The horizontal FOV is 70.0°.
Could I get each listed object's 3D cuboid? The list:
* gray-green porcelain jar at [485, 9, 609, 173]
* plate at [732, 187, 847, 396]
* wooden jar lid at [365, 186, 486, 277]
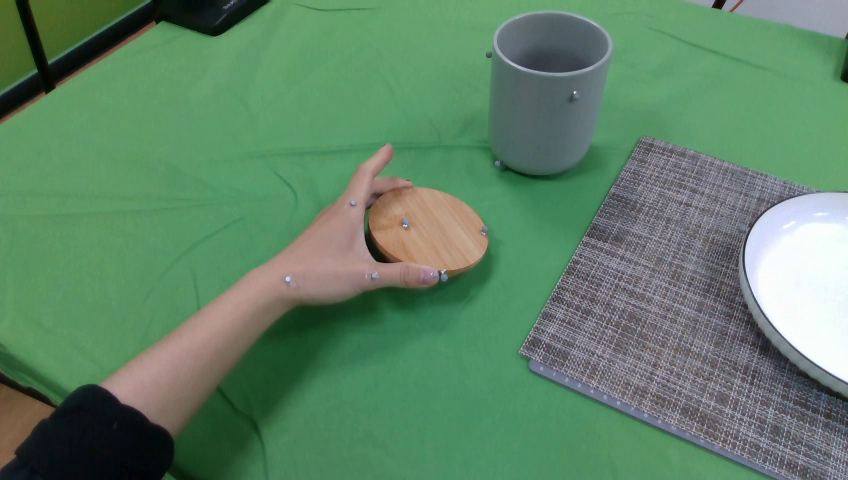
[{"bbox_3d":[0.112,-0.137,0.584,0.106,0.127,0.105,-1,50,2],"label":"gray-green porcelain jar"},{"bbox_3d":[0.348,0.044,0.474,0.207,0.039,0.205,-1,50,2],"label":"plate"},{"bbox_3d":[0.001,-0.007,0.533,0.109,0.021,0.107,11,42,-10],"label":"wooden jar lid"}]
